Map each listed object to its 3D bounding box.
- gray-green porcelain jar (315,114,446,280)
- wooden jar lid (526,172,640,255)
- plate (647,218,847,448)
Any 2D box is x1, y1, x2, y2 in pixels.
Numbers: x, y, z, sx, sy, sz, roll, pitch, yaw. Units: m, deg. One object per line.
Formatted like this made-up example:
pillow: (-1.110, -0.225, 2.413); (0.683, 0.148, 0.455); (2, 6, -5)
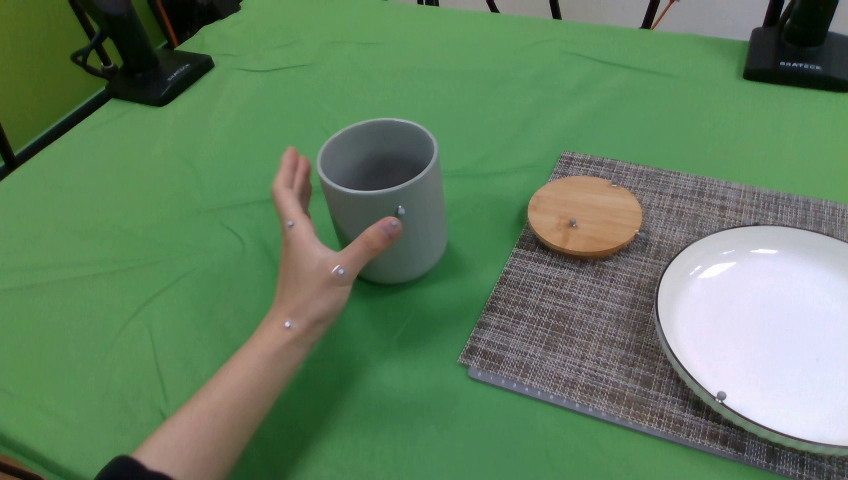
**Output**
gray-green porcelain jar: (-0.035, -0.034, 0.557); (0.106, 0.128, 0.105); (-4, 46, 4)
wooden jar lid: (0.154, -0.025, 0.592); (0.108, 0.021, 0.107); (-3, 46, 3)
plate: (0.281, 0.068, 0.473); (0.207, 0.039, 0.205); (-4, 46, 4)
